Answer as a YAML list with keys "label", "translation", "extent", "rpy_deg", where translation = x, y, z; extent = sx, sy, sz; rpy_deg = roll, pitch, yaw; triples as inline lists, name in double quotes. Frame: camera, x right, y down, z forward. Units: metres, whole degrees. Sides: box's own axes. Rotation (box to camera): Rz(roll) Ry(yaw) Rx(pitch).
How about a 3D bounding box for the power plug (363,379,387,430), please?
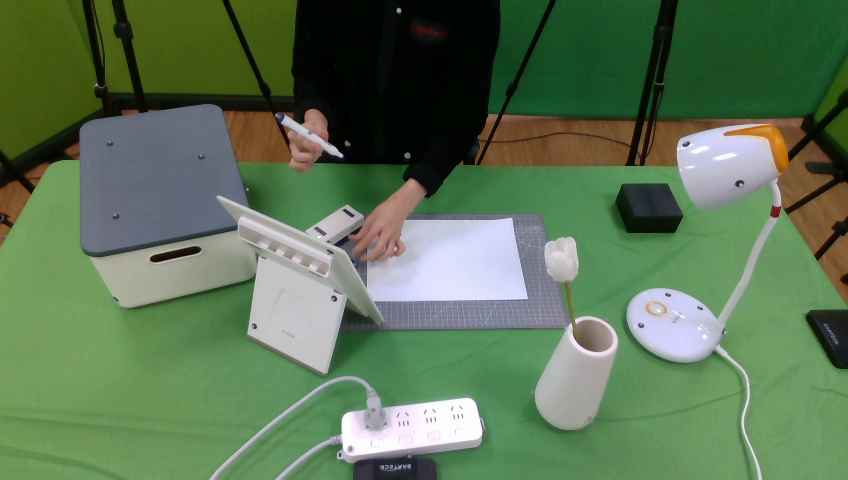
- label: "power plug"
  translation: [-0.071, 0.252, 0.911]
  extent: [0.035, 0.053, 0.072]
  rpy_deg: [3, 40, 0]

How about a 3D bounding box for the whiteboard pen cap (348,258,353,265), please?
- label: "whiteboard pen cap"
  translation: [-0.152, 0.041, 1.146]
  extent: [0.033, 0.018, 0.018]
  rpy_deg: [11, 46, 11]

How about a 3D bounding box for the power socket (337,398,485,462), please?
- label: "power socket"
  translation: [-0.018, 0.285, 0.914]
  extent: [0.227, 0.033, 0.071]
  rpy_deg: [-4, 46, -8]

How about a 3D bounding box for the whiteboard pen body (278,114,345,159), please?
- label: "whiteboard pen body"
  translation: [-0.189, -0.173, 1.031]
  extent: [0.141, 0.017, 0.017]
  rpy_deg: [30, 31, -39]

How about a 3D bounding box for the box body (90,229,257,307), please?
- label: "box body"
  translation: [-0.471, -0.070, 1.131]
  extent: [0.254, 0.161, 0.361]
  rpy_deg: [-14, 49, -17]

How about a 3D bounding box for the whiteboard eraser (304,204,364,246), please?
- label: "whiteboard eraser"
  translation: [-0.175, -0.022, 1.188]
  extent: [0.055, 0.042, 0.112]
  rpy_deg: [36, 53, 26]

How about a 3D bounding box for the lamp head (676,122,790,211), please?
- label: "lamp head"
  translation: [0.423, -0.104, 0.819]
  extent: [0.122, 0.113, 0.112]
  rpy_deg: [-13, 33, 40]

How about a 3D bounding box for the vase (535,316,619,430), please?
- label: "vase"
  translation: [0.229, 0.200, 0.901]
  extent: [0.098, 0.201, 0.097]
  rpy_deg: [3, 46, -3]

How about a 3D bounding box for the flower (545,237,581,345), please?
- label: "flower"
  translation: [0.213, 0.137, 0.846]
  extent: [0.038, 0.364, 0.044]
  rpy_deg: [22, 55, 40]

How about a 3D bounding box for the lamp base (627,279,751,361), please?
- label: "lamp base"
  translation: [0.460, 0.100, 1.027]
  extent: [0.178, 0.181, 0.160]
  rpy_deg: [27, 51, 17]

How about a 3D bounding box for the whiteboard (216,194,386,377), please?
- label: "whiteboard"
  translation: [-0.212, 0.093, 0.939]
  extent: [0.216, 0.307, 0.143]
  rpy_deg: [24, 70, 17]

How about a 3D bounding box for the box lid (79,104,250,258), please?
- label: "box lid"
  translation: [-0.467, -0.120, 1.075]
  extent: [0.264, 0.015, 0.369]
  rpy_deg: [-13, 49, -17]
